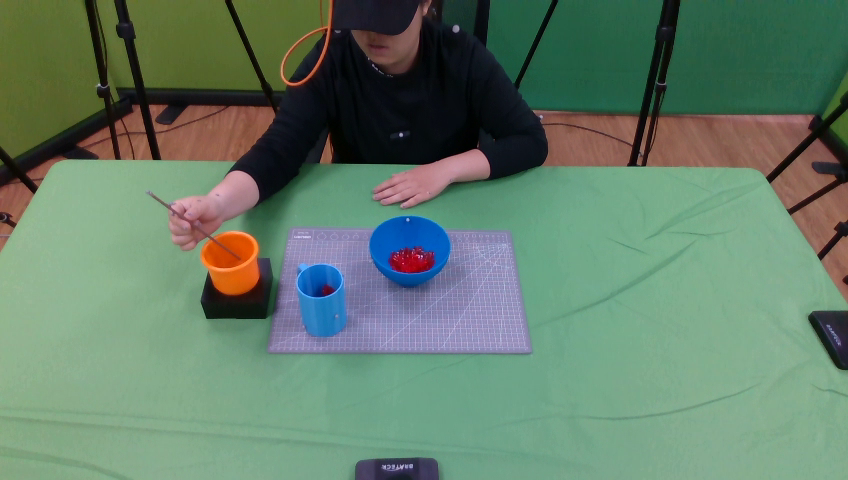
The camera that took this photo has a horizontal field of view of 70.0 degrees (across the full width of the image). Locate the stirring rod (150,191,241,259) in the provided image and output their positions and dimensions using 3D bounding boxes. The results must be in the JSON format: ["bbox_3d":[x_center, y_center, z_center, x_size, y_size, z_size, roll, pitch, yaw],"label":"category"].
[{"bbox_3d":[-0.363,-0.021,0.971,0.014,0.177,0.006,15,66,54],"label":"stirring rod"}]

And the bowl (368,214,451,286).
[{"bbox_3d":[-0.028,0.031,1.122,0.151,0.077,0.150,2,46,-2],"label":"bowl"}]

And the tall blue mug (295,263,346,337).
[{"bbox_3d":[-0.187,0.096,1.027,0.107,0.108,0.077,21,49,16],"label":"tall blue mug"}]
